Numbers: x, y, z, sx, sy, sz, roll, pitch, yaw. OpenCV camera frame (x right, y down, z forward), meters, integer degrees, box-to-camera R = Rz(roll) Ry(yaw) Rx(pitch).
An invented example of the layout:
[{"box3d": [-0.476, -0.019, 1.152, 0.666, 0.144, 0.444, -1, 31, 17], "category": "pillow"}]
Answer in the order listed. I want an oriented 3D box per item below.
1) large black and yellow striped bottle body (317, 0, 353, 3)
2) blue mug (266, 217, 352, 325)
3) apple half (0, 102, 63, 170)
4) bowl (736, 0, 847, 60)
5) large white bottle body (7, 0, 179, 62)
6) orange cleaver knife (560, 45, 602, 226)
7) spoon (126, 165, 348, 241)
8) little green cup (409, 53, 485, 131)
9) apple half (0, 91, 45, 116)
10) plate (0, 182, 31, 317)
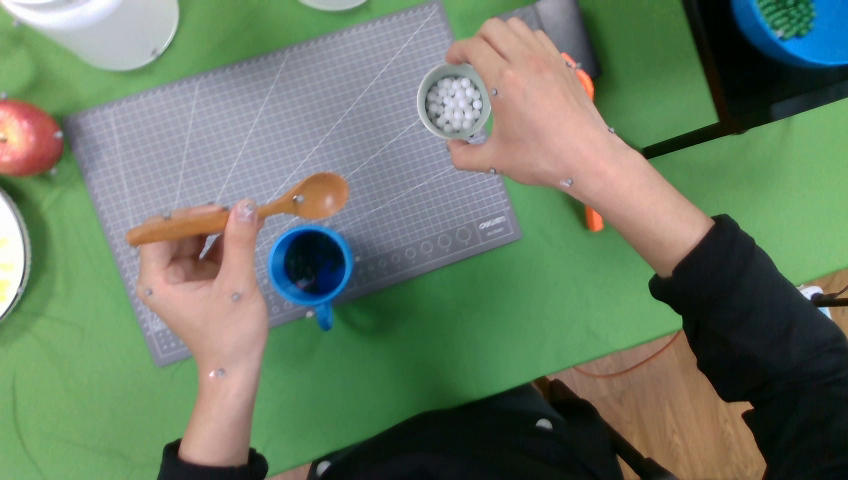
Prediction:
[{"box3d": [-0.097, -0.333, 0.607, 0.131, 0.183, 0.130, 0, 91, -5], "category": "large black and yellow striped bottle body"}, {"box3d": [-0.117, 0.035, 0.654, 0.082, 0.105, 0.116, -11, 93, -5], "category": "blue mug"}, {"box3d": [-0.418, -0.102, 0.637, 0.081, 0.074, 0.053, -34, 99, -7], "category": "apple half"}, {"box3d": [0.331, -0.225, 0.529, 0.151, 0.076, 0.151, 0, 92, -6], "category": "bowl"}, {"box3d": [-0.329, -0.260, 0.585, 0.131, 0.184, 0.130, 0, 91, -5], "category": "large white bottle body"}, {"box3d": [0.178, -0.114, 0.692, 0.012, 0.076, 0.213, -20, 124, -5], "category": "orange cleaver knife"}, {"box3d": [-0.121, -0.025, 0.436, 0.021, 0.194, 0.042, 22, 113, 24], "category": "spoon"}, {"box3d": [0.022, -0.117, 0.494, 0.061, 0.039, 0.061, 1, 95, 15], "category": "little green cup"}, {"box3d": [-0.440, -0.135, 0.632, 0.081, 0.081, 0.033, -34, 99, -4], "category": "apple half"}, {"box3d": [-0.527, 0.008, 0.646, 0.209, 0.038, 0.209, 0, 92, -6], "category": "plate"}]
